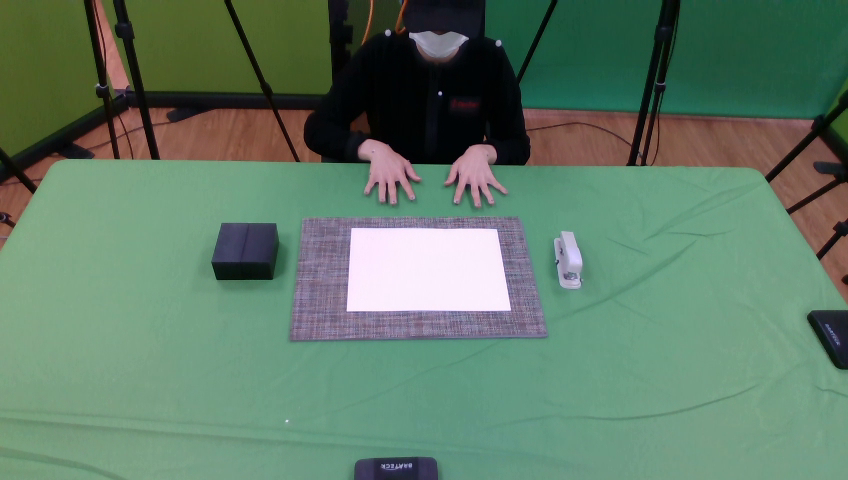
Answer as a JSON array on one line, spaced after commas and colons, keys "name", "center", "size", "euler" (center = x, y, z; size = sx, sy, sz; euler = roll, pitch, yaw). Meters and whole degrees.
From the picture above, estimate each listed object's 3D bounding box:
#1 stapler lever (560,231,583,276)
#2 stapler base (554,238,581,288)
[{"name": "stapler lever", "center": [0.283, 0.018, 1.165], "size": [0.027, 0.040, 0.117], "euler": [5, 44, -2]}, {"name": "stapler base", "center": [0.282, 0.038, 1.181], "size": [0.041, 0.024, 0.130], "euler": [5, 44, -2]}]
